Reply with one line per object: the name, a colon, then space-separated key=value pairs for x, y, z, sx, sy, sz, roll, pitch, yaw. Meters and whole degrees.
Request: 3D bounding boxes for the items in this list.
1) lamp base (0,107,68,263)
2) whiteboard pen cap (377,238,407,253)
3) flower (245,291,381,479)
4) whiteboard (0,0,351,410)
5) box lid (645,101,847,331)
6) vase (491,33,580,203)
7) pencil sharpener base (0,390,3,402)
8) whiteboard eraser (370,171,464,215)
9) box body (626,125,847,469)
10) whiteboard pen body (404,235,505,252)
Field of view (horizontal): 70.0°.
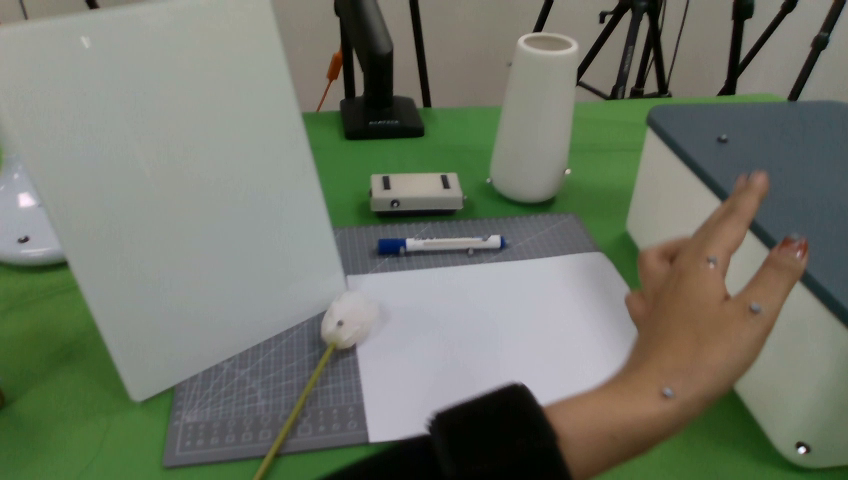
lamp base: x=-0.422 y=-0.092 z=0.645 sx=0.178 sy=0.182 sz=0.160 roll=21 pitch=41 yaw=25
whiteboard pen cap: x=-0.036 y=0.007 z=0.679 sx=0.033 sy=0.018 sz=0.018 roll=0 pitch=38 yaw=-9
flower: x=-0.123 y=0.169 z=0.467 sx=0.044 sy=0.038 sz=0.359 roll=19 pitch=45 yaw=11
whiteboard: x=-0.223 y=-0.050 z=0.551 sx=0.217 sy=0.307 sz=0.142 roll=-25 pitch=27 yaw=-31
box lid: x=0.386 y=-0.038 z=0.535 sx=0.264 sy=0.015 sz=0.367 roll=-3 pitch=37 yaw=-9
vase: x=0.140 y=-0.145 z=0.745 sx=0.098 sy=0.201 sz=0.097 roll=3 pitch=38 yaw=-2
pencil sharpener base: x=-0.392 y=0.094 z=0.467 sx=0.076 sy=0.108 sz=0.061 roll=24 pitch=43 yaw=25
whiteboard eraser: x=-0.010 y=-0.057 z=0.748 sx=0.113 sy=0.042 sz=0.055 roll=-3 pitch=36 yaw=-7
box body: x=0.384 y=0.020 z=0.583 sx=0.255 sy=0.162 sz=0.360 roll=-4 pitch=38 yaw=-8
whiteboard pen body: x=0.023 y=0.004 z=0.687 sx=0.141 sy=0.017 sz=0.017 roll=-2 pitch=38 yaw=-7
